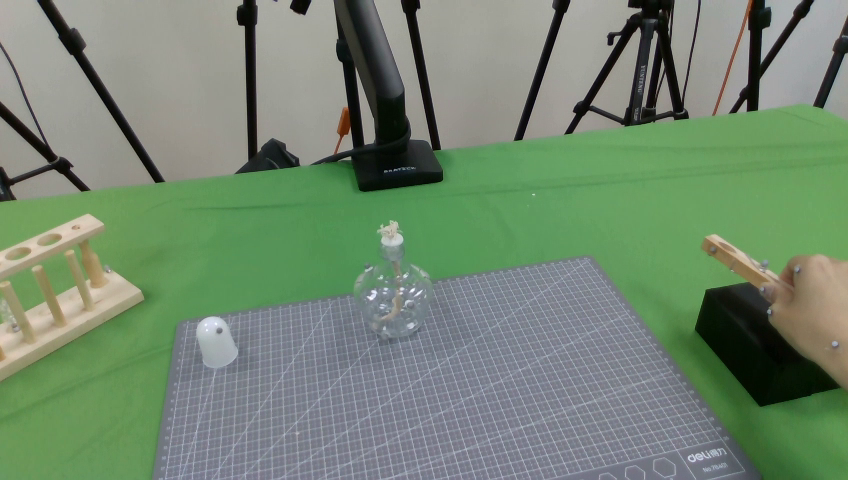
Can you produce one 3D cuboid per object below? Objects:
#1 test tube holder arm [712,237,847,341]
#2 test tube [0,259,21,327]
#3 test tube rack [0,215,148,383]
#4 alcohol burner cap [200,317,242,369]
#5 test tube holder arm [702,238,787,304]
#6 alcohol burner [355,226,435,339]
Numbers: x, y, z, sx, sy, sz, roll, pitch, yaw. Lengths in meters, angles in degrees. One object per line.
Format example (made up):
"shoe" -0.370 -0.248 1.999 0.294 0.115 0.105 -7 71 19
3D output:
"test tube holder arm" 0.315 0.048 0.515 0.013 0.015 0.176 -21 42 -21
"test tube" -0.400 0.018 0.558 0.017 0.151 0.017 0 29 0
"test tube rack" -0.397 0.073 0.565 0.066 0.086 0.242 24 42 32
"alcohol burner cap" -0.190 0.092 0.562 0.034 0.048 0.033 -1 35 1
"test tube holder arm" 0.288 0.027 0.544 0.010 0.015 0.087 -21 41 -20
"alcohol burner" -0.028 0.036 0.574 0.078 0.120 0.077 0 36 0
